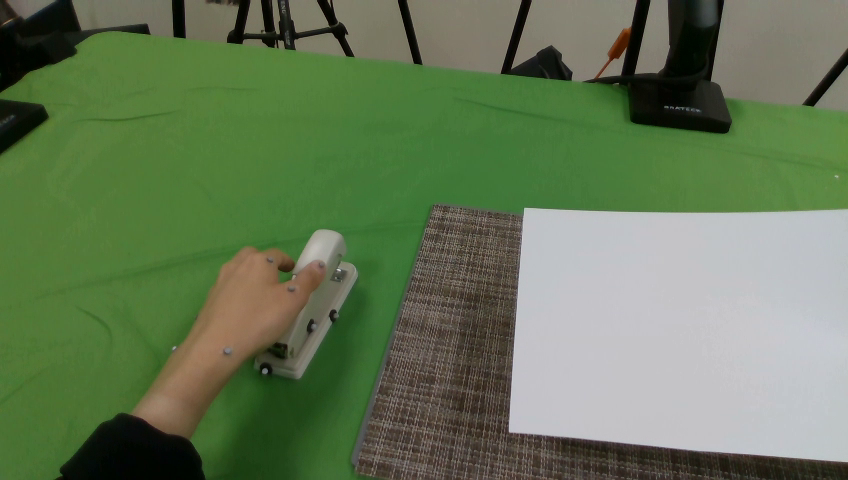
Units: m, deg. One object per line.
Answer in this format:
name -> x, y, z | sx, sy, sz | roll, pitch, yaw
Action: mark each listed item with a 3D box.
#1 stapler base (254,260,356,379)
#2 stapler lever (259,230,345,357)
stapler base -> -0.097, 0.056, 0.511 | 0.041, 0.024, 0.129 | 11, 44, 14
stapler lever -> -0.097, 0.038, 0.492 | 0.027, 0.040, 0.117 | 11, 44, 14
